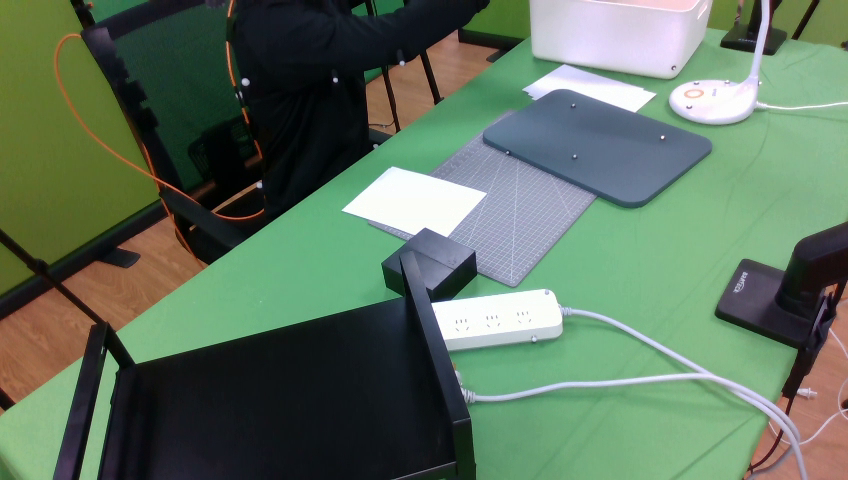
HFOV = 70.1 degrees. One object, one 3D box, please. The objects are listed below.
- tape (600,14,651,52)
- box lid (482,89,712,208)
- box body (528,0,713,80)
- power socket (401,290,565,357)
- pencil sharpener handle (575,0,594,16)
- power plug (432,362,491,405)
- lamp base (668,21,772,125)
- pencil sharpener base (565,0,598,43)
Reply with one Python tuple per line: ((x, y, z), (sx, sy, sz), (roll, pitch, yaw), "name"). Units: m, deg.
((0.484, -0.497, 1.451), (0.117, 0.053, 0.116), (-4, 41, 4), "tape")
((0.320, -0.190, 1.156), (0.264, 0.015, 0.368), (-33, 47, -28), "box lid")
((0.451, -0.513, 1.398), (0.361, 0.161, 0.254), (19, 47, 28), "box body")
((0.080, 0.113, 0.821), (0.227, 0.033, 0.072), (-7, 41, 0), "power socket")
((0.401, -0.594, 1.512), (0.036, 0.067, 0.030), (35, 48, 1), "pencil sharpener handle")
((0.045, 0.182, 0.758), (0.073, 0.035, 0.052), (22, 43, -18), "power plug")
((0.577, -0.333, 1.154), (0.179, 0.181, 0.160), (6, 43, 12), "lamp base")
((0.387, -0.550, 1.484), (0.061, 0.107, 0.077), (14, 44, 23), "pencil sharpener base")
